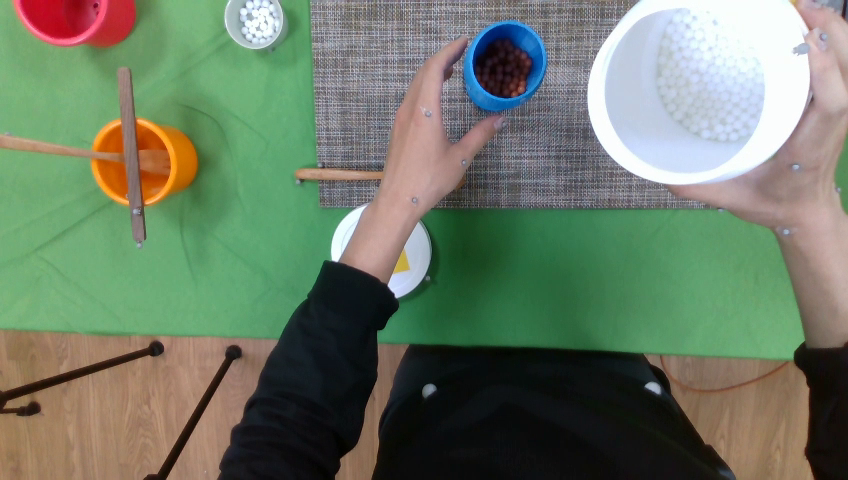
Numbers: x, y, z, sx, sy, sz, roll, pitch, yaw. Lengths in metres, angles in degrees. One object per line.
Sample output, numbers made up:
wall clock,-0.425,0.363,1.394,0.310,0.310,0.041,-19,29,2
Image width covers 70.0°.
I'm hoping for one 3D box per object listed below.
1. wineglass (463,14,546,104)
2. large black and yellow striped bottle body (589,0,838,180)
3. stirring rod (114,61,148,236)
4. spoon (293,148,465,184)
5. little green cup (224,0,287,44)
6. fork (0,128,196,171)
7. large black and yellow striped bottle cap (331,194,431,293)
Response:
wineglass,0.071,-0.164,0.571,0.074,0.171,0.074,0,101,3
large black and yellow striped bottle body,0.202,-0.119,0.421,0.129,0.184,0.131,18,122,33
stirring rod,-0.297,-0.091,0.616,0.014,0.006,0.176,0,102,4
spoon,-0.051,-0.081,0.670,0.194,0.021,0.042,0,122,3
little green cup,-0.175,-0.237,0.640,0.061,0.038,0.062,1,102,3
fork,-0.339,-0.094,0.620,0.209,0.018,0.028,4,112,-42
large black and yellow striped bottle cap,-0.049,0.005,0.694,0.115,0.018,0.115,0,105,2
